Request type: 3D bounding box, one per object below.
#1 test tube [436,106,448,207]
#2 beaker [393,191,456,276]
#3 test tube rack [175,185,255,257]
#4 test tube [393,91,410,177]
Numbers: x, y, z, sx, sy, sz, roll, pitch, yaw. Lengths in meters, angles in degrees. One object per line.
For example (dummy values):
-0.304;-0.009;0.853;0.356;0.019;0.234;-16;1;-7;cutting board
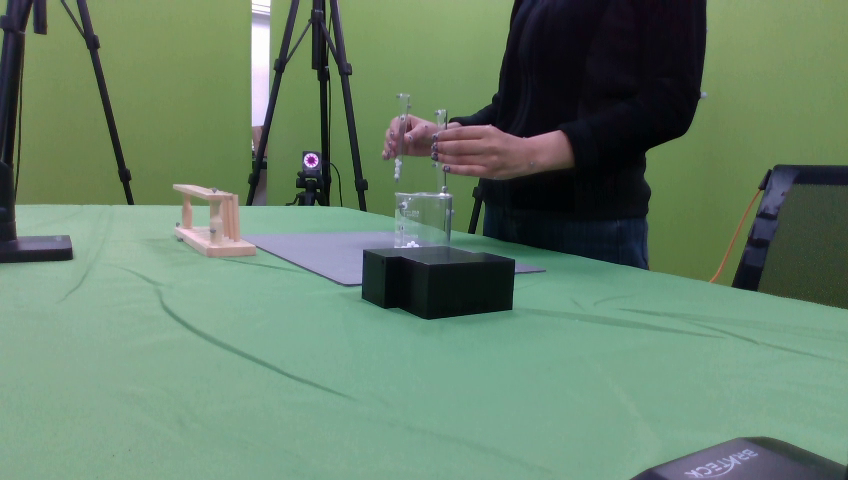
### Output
0.026;-0.125;0.909;0.017;0.150;0.017;1;2;0;test tube
-0.003;-0.010;0.749;0.074;0.100;0.083;-3;8;-40;beaker
-0.324;-0.035;0.922;0.067;0.085;0.241;-2;9;-31;test tube rack
-0.039;-0.179;1.031;0.017;0.150;0.017;6;27;-3;test tube
